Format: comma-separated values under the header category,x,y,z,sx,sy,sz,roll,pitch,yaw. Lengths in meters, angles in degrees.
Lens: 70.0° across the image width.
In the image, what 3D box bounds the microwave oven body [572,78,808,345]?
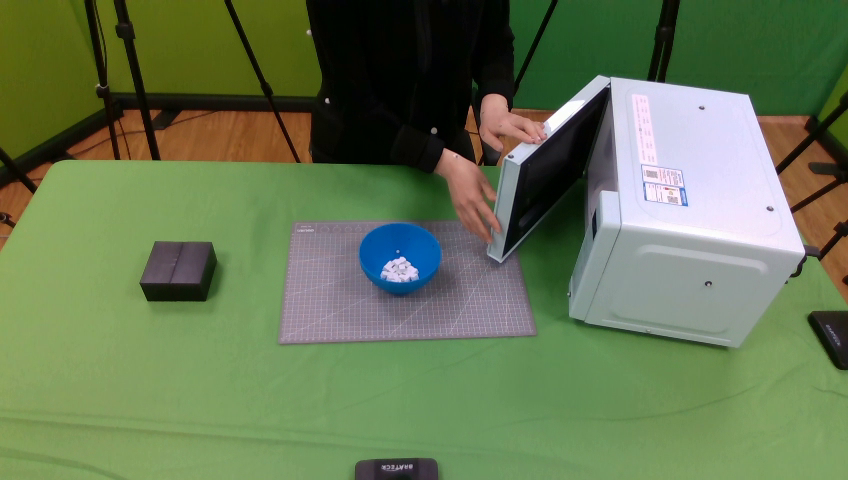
category,x,y,z,sx,sy,sz,roll,pitch,yaw
microwave oven body,0.456,-0.063,1.124,0.326,0.261,0.439,8,45,5

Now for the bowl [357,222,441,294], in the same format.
category,x,y,z,sx,sy,sz,roll,pitch,yaw
bowl,-0.046,0.046,1.107,0.151,0.077,0.150,3,45,-2

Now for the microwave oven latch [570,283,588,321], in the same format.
category,x,y,z,sx,sy,sz,roll,pitch,yaw
microwave oven latch,0.276,0.105,1.082,0.030,0.029,0.079,10,45,6

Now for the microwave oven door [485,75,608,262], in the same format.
category,x,y,z,sx,sy,sz,roll,pitch,yaw
microwave oven door,0.244,-0.145,1.180,0.039,0.245,0.355,31,51,23
